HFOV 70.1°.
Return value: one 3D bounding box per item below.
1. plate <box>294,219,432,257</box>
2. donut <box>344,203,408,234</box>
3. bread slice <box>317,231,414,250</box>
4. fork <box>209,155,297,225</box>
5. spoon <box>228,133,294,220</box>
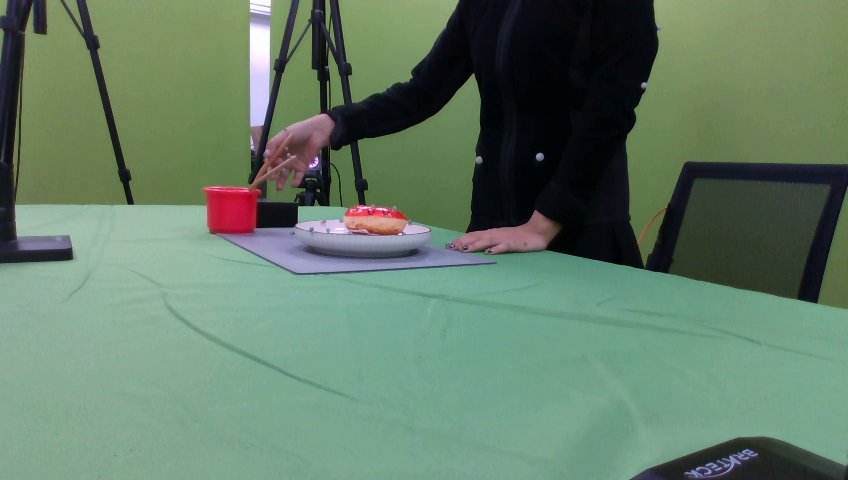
[{"bbox_3d":[-0.092,-0.003,0.924,0.209,0.038,0.209,2,7,0],"label":"plate"},{"bbox_3d":[-0.074,-0.031,0.931,0.099,0.048,0.099,4,3,0],"label":"donut"},{"bbox_3d":[-0.093,0.000,0.915,0.132,0.019,0.104,0,6,-26],"label":"bread slice"},{"bbox_3d":[-0.297,-0.085,1.049,0.207,0.018,0.028,-38,11,17],"label":"fork"},{"bbox_3d":[-0.293,-0.115,1.089,0.022,0.193,0.041,33,-2,-25],"label":"spoon"}]
